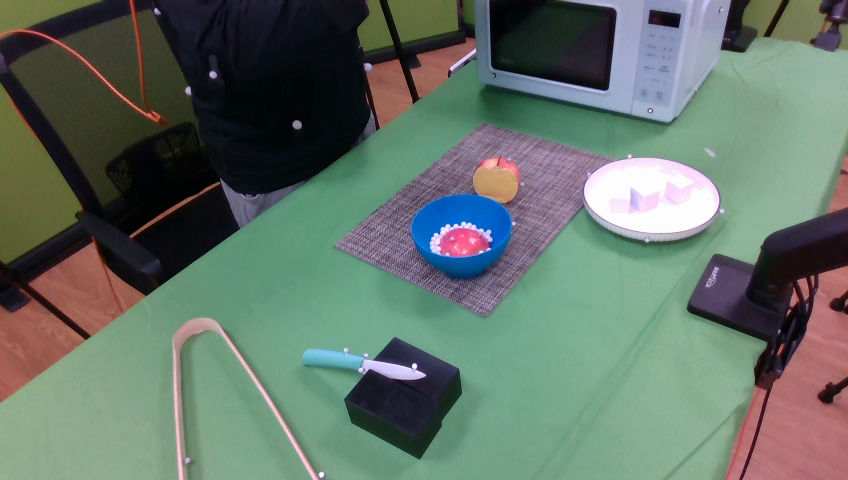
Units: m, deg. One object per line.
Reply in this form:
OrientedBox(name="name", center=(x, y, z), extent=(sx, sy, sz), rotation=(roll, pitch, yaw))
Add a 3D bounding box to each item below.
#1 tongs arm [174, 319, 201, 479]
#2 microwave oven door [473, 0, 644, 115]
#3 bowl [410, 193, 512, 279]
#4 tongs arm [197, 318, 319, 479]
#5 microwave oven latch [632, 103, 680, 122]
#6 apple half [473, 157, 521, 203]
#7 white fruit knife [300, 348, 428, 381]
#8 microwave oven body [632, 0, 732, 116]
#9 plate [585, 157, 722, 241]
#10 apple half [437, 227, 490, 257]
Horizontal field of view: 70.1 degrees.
OrientedBox(name="tongs arm", center=(-0.272, 0.234, 0.723), extent=(0.051, 0.026, 0.381), rotation=(-18, 40, -15))
OrientedBox(name="microwave oven door", center=(0.257, -0.396, 1.199), extent=(0.353, 0.245, 0.039), rotation=(21, 48, 29))
OrientedBox(name="bowl", center=(0.058, 0.005, 0.905), extent=(0.151, 0.077, 0.150), rotation=(-4, 40, 3))
OrientedBox(name="tongs arm", center=(-0.200, 0.208, 0.751), extent=(0.028, 0.028, 0.384), rotation=(-31, 45, -22))
OrientedBox(name="microwave oven latch", center=(0.443, -0.249, 1.157), extent=(0.078, 0.029, 0.030), rotation=(19, 48, 29))
OrientedBox(name="apple half", center=(0.128, -0.107, 1.030), extent=(0.080, 0.075, 0.053), rotation=(4, 38, 19))
OrientedBox(name="white fruit knife", center=(-0.080, 0.154, 0.748), extent=(0.206, 0.027, 0.016), rotation=(1, 20, 34))
OrientedBox(name="microwave oven body", center=(0.377, -0.462, 1.267), extent=(0.438, 0.261, 0.327), rotation=(21, 48, 30))
OrientedBox(name="plate", center=(0.367, -0.063, 0.979), extent=(0.207, 0.039, 0.206), rotation=(-4, 41, 4))
OrientedBox(name="apple half", center=(0.056, 0.002, 0.902), extent=(0.081, 0.033, 0.081), rotation=(-3, 42, 3))
